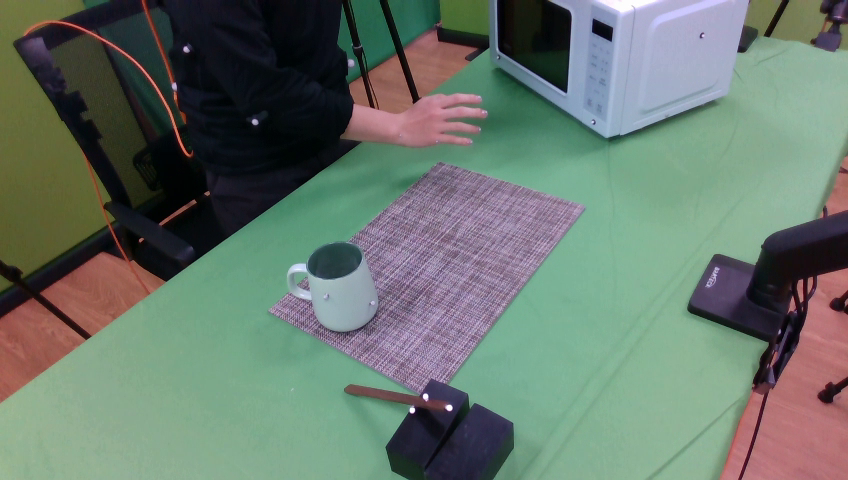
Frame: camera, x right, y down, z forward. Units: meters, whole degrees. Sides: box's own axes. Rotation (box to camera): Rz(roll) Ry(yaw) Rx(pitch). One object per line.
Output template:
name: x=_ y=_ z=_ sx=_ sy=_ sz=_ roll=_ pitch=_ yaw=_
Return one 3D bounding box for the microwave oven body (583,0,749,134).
microwave oven body: x=0.382 y=-0.444 z=1.246 sx=0.327 sy=0.261 sz=0.437 roll=-22 pitch=42 yaw=-16

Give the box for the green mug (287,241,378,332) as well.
green mug: x=-0.131 y=0.065 z=0.843 sx=0.125 sy=0.105 sz=0.092 roll=3 pitch=42 yaw=12

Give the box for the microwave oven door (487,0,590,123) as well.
microwave oven door: x=0.232 y=-0.420 z=1.231 sx=0.039 sy=0.245 sz=0.352 roll=-22 pitch=43 yaw=-16

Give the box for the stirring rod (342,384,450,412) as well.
stirring rod: x=-0.038 y=0.186 z=0.714 sx=0.175 sy=0.006 sz=0.014 roll=-3 pitch=22 yaw=43

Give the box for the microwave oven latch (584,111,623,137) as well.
microwave oven latch: x=0.337 y=-0.222 z=1.142 sx=0.030 sy=0.029 sz=0.078 roll=-21 pitch=42 yaw=-14
